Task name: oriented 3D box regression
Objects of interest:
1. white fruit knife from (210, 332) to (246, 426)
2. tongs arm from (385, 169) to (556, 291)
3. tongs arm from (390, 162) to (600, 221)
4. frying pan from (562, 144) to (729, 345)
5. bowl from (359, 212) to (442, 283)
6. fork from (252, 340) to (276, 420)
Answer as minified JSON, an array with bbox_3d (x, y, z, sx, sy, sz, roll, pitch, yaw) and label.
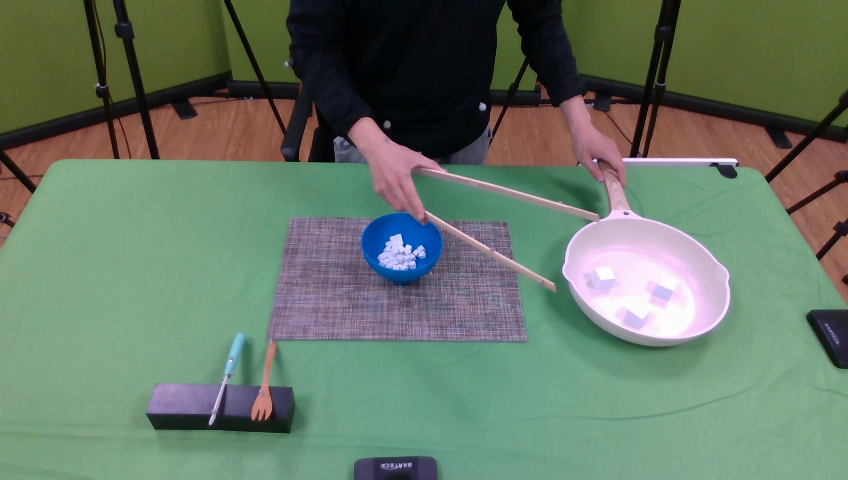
[{"bbox_3d":[-0.301,0.206,0.930,0.016,0.027,0.206,5,29,-7],"label":"white fruit knife"},{"bbox_3d":[0.067,-0.026,1.007,0.383,0.027,0.050,29,76,32],"label":"tongs arm"},{"bbox_3d":[0.109,-0.084,1.026,0.386,0.028,0.028,17,73,29],"label":"tongs arm"},{"bbox_3d":[0.396,-0.008,1.179,0.307,0.103,0.484,1,55,-4],"label":"frying pan"},{"bbox_3d":[-0.044,0.026,1.125,0.151,0.077,0.150,2,46,-2],"label":"bowl"},{"bbox_3d":[-0.242,0.211,0.932,0.028,0.019,0.206,-8,27,-5],"label":"fork"}]
